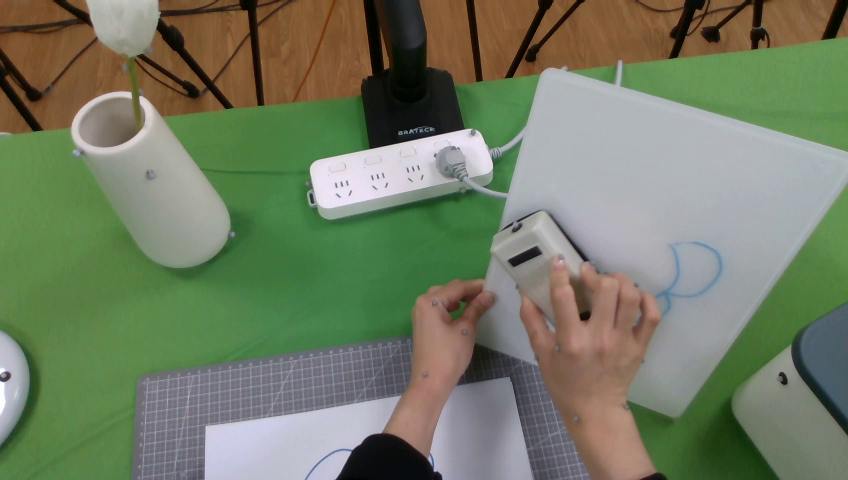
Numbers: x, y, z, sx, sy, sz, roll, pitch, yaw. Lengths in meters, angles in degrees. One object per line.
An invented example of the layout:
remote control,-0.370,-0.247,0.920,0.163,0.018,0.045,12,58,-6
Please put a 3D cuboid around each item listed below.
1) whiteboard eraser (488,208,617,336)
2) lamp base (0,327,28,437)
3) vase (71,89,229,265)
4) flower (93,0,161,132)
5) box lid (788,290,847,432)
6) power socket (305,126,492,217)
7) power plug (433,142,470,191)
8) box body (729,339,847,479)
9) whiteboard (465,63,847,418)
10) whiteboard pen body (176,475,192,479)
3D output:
whiteboard eraser,0.108,0.027,0.508,0.113,0.055,0.041,49,36,-15
lamp base,-0.477,0.108,0.516,0.178,0.182,0.160,21,63,14
vase,-0.264,-0.055,0.597,0.098,0.201,0.097,0,61,1
flower,-0.243,-0.090,0.523,0.038,0.362,0.044,40,58,1
box lid,0.469,0.163,0.421,0.263,0.015,0.368,-25,65,-13
power socket,-0.027,-0.081,0.709,0.227,0.033,0.071,-12,63,-8
power plug,0.029,-0.077,0.682,0.035,0.053,0.072,-3,68,-2
box body,0.470,0.201,0.486,0.254,0.161,0.360,-25,64,-13
whiteboard,0.187,-0.015,0.555,0.216,0.308,0.143,20,42,11
whiteboard pen body,-0.215,0.275,0.514,0.017,0.017,0.139,-1,63,0
